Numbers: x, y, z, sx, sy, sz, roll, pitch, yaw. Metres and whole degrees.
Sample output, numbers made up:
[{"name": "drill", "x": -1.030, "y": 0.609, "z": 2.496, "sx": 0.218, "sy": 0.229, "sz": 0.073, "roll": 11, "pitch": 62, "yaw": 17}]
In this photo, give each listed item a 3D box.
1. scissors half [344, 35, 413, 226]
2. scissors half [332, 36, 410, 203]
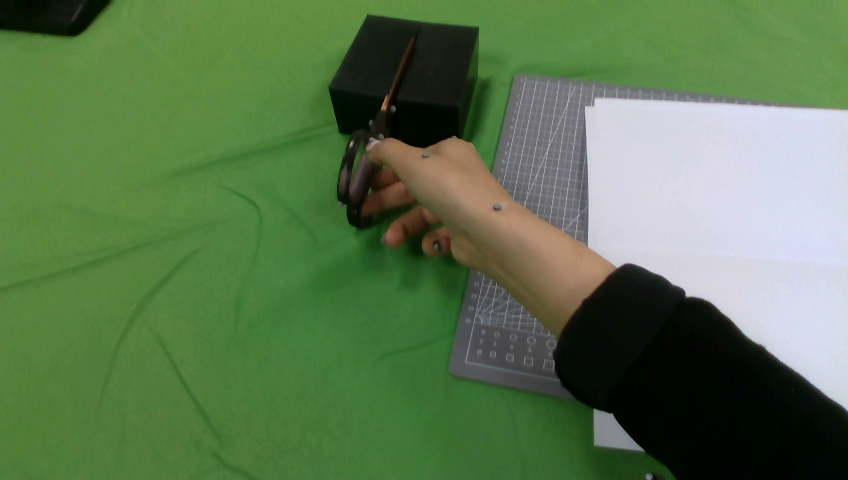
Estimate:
[{"name": "scissors half", "x": -0.030, "y": -0.090, "z": 0.476, "sx": 0.012, "sy": 0.040, "sz": 0.174, "roll": 8, "pitch": 72, "yaw": 18}, {"name": "scissors half", "x": -0.034, "y": -0.100, "z": 0.458, "sx": 0.013, "sy": 0.040, "sz": 0.174, "roll": 10, "pitch": 55, "yaw": 13}]
